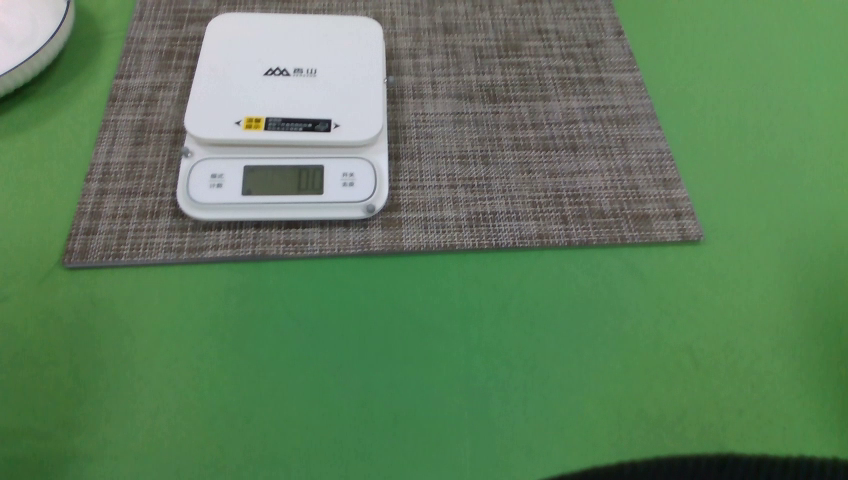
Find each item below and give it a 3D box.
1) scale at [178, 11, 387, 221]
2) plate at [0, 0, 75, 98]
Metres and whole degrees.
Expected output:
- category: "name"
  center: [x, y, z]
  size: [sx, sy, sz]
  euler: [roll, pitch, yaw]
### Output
- category: "scale"
  center: [-0.104, -0.104, 0.472]
  size: [0.149, 0.032, 0.199]
  euler: [-1, 57, -4]
- category: "plate"
  center: [-0.395, -0.171, 0.499]
  size: [0.208, 0.039, 0.205]
  euler: [2, 57, -3]
